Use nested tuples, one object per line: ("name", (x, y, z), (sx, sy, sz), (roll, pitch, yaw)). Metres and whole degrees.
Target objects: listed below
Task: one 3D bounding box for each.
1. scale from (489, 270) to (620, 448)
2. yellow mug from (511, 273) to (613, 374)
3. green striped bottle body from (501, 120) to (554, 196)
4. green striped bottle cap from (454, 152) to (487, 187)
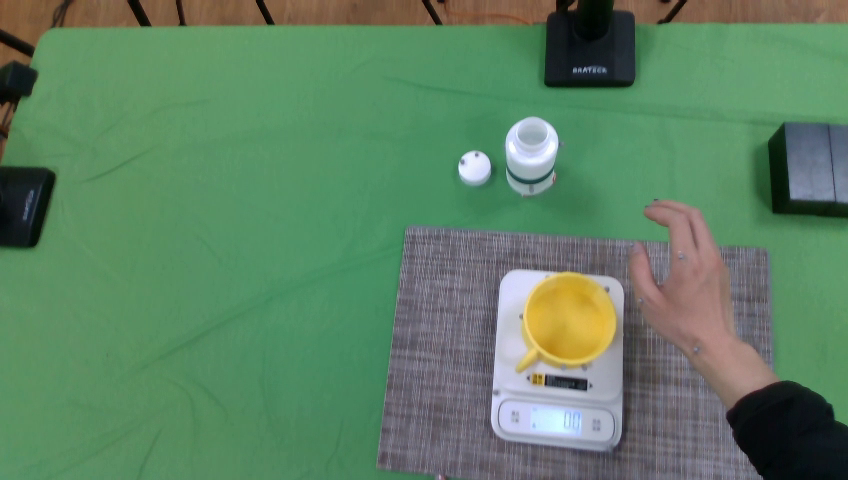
("scale", (0.156, 0.137, 0.719), (0.148, 0.032, 0.200), (3, 74, 9))
("yellow mug", (0.146, 0.103, 0.681), (0.131, 0.064, 0.099), (-44, 74, -6))
("green striped bottle body", (0.127, -0.104, 0.753), (0.063, 0.120, 0.063), (-2, 73, 7))
("green striped bottle cap", (0.063, -0.095, 0.815), (0.044, 0.020, 0.044), (-1, 79, 7))
